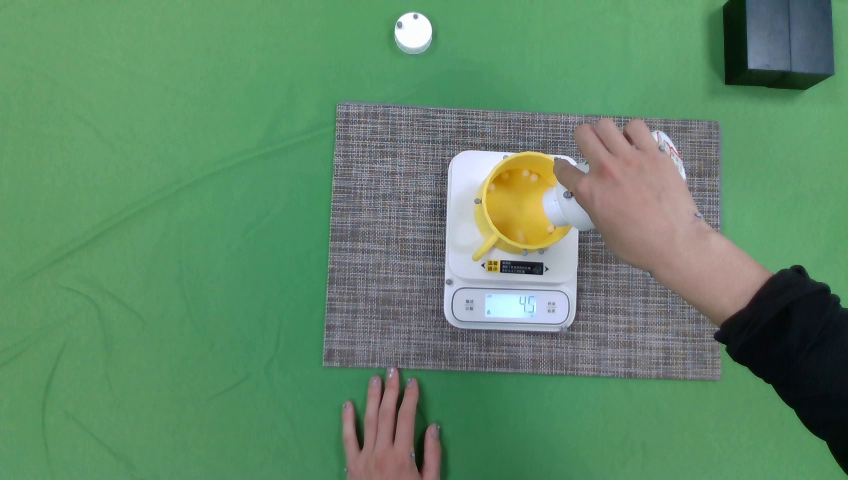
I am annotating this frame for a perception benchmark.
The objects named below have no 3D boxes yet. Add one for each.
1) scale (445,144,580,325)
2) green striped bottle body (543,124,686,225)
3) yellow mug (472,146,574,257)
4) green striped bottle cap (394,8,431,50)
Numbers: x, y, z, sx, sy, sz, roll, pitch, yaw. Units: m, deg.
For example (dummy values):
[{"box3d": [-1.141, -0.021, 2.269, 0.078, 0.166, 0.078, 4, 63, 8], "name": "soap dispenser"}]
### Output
[{"box3d": [0.100, -0.006, 0.679, 0.149, 0.031, 0.200, 2, 85, -1], "name": "scale"}, {"box3d": [0.169, -0.054, 0.555, 0.119, 0.063, 0.063, -22, 84, 39], "name": "green striped bottle body"}, {"box3d": [0.096, -0.031, 0.633, 0.100, 0.064, 0.131, 42, 85, 2], "name": "yellow mug"}, {"box3d": [-0.013, -0.247, 0.708, 0.044, 0.020, 0.044, 0, 88, -2], "name": "green striped bottle cap"}]
